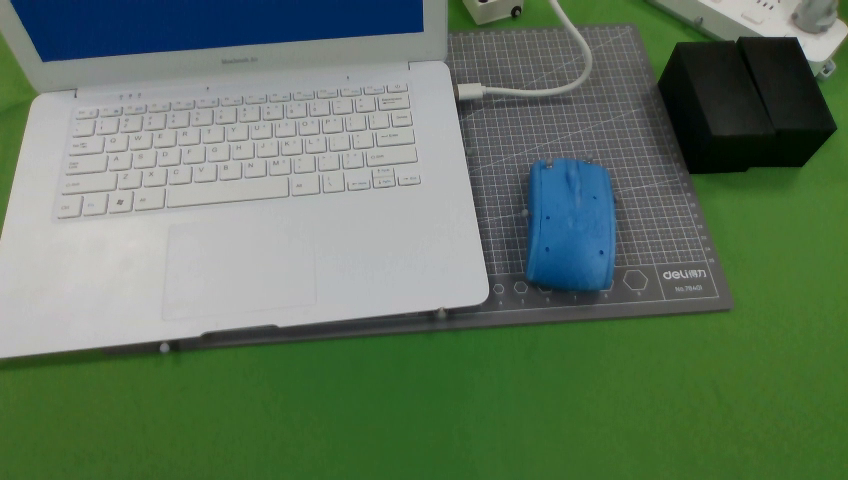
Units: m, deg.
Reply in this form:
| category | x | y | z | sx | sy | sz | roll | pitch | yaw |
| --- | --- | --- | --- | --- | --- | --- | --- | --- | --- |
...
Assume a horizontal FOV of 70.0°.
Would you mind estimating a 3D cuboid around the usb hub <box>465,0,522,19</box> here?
| category | x | y | z | sx | sy | sz | roll | pitch | yaw |
| --- | --- | --- | --- | --- | --- | --- | --- | --- | --- |
| usb hub | 0.049 | -0.273 | 0.600 | 0.049 | 0.025 | 0.124 | -19 | 63 | -11 |

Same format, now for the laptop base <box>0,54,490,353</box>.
| category | x | y | z | sx | sy | sz | roll | pitch | yaw |
| --- | --- | --- | --- | --- | --- | --- | --- | --- | --- |
| laptop base | -0.140 | -0.041 | 0.474 | 0.355 | 0.023 | 0.233 | -6 | 65 | -4 |

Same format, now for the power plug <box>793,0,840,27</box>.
| category | x | y | z | sx | sy | sz | roll | pitch | yaw |
| --- | --- | --- | --- | --- | --- | --- | --- | --- | --- |
| power plug | 0.366 | -0.216 | 0.546 | 0.072 | 0.053 | 0.035 | -34 | 65 | -16 |

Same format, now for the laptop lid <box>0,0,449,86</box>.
| category | x | y | z | sx | sy | sz | roll | pitch | yaw |
| --- | --- | --- | --- | --- | --- | --- | --- | --- | --- |
| laptop lid | -0.157 | -0.223 | 0.440 | 0.357 | 0.244 | 0.013 | -7 | 48 | -3 |

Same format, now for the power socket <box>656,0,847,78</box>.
| category | x | y | z | sx | sy | sz | roll | pitch | yaw |
| --- | --- | --- | --- | --- | --- | --- | --- | --- | --- |
| power socket | 0.292 | -0.231 | 0.579 | 0.225 | 0.033 | 0.072 | 40 | 67 | 19 |

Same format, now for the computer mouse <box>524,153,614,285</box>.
| category | x | y | z | sx | sy | sz | roll | pitch | yaw |
| --- | --- | --- | --- | --- | --- | --- | --- | --- | --- |
| computer mouse | 0.109 | -0.021 | 0.454 | 0.063 | 0.041 | 0.116 | 7 | 57 | 5 |
